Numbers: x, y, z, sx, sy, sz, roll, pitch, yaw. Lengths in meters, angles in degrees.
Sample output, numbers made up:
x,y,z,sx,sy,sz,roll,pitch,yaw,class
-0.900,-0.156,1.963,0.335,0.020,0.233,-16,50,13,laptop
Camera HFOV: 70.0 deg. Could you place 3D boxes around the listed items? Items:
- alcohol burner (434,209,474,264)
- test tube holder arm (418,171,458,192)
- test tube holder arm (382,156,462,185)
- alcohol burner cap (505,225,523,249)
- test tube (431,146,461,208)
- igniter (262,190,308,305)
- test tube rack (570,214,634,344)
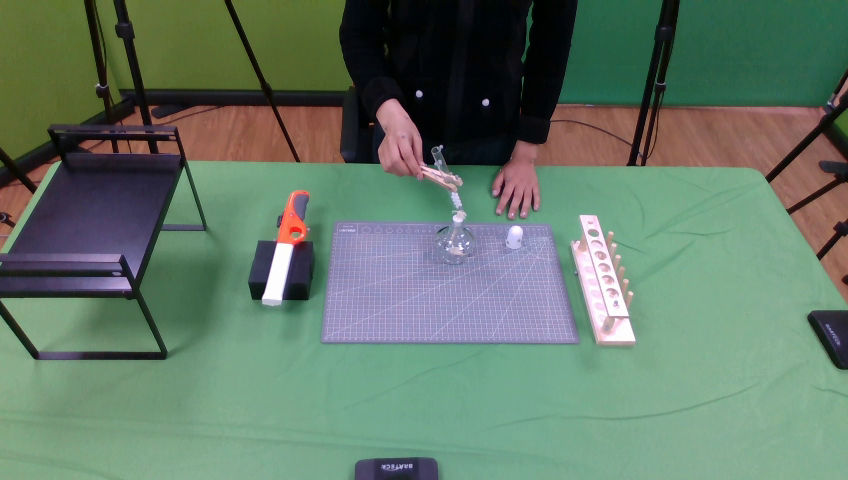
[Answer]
x,y,z,sx,sy,sz,roll,pitch,yaw,class
0.058,-0.012,1.147,0.078,0.119,0.077,3,45,-3,alcohol burner
0.023,-0.104,1.049,0.087,0.015,0.010,31,74,38,test tube holder arm
-0.007,-0.124,1.077,0.177,0.015,0.013,22,67,35,test tube holder arm
0.180,-0.009,1.203,0.034,0.048,0.033,2,47,-2,alcohol burner cap
0.039,-0.104,1.032,0.017,0.151,0.017,-10,52,14,test tube
-0.252,0.004,1.107,0.057,0.025,0.275,7,47,-6,igniter
0.333,0.067,1.116,0.067,0.085,0.241,1,46,-3,test tube rack
